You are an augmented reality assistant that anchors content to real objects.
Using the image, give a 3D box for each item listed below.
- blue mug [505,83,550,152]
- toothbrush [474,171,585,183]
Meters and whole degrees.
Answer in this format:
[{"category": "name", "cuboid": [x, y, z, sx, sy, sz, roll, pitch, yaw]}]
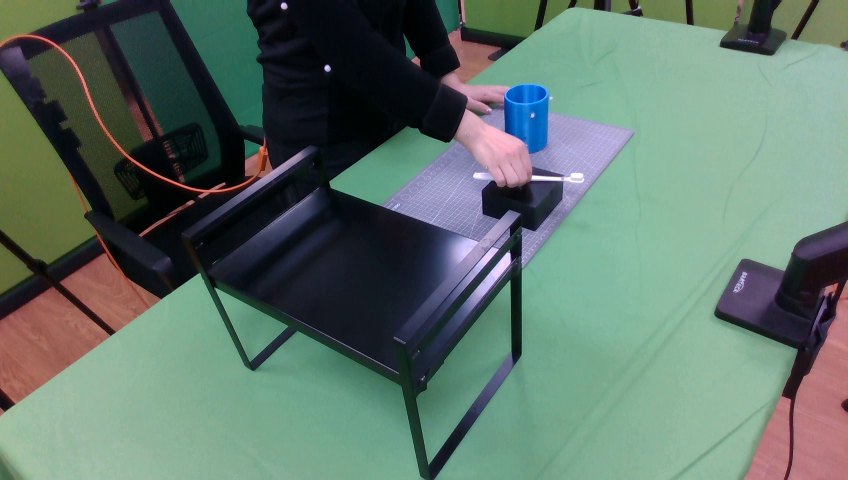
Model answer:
[{"category": "blue mug", "cuboid": [0.204, -0.243, 1.160, 0.082, 0.106, 0.116, 14, 45, 24]}, {"category": "toothbrush", "cuboid": [0.173, -0.106, 0.997, 0.181, 0.017, 0.014, 3, 65, 11]}]
